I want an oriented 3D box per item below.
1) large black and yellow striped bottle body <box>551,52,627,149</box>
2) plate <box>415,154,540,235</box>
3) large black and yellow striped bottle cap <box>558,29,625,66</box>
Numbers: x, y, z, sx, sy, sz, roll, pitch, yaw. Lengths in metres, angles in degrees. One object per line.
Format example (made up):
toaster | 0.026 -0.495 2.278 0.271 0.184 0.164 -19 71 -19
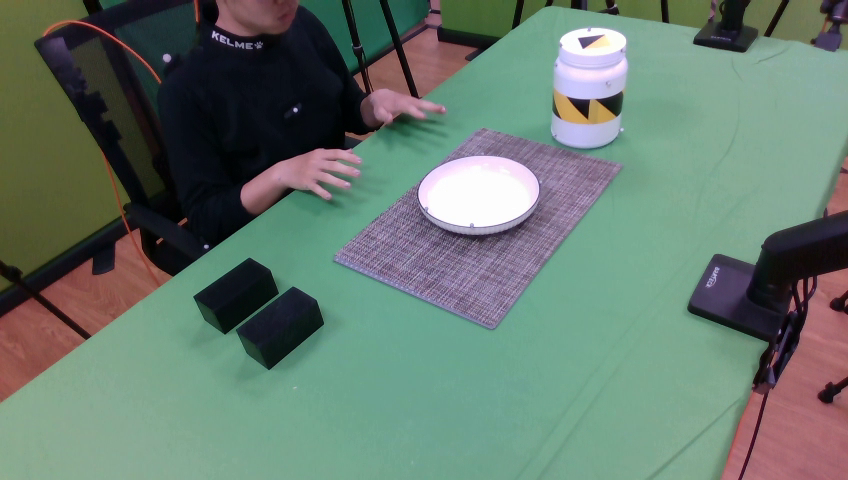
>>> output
large black and yellow striped bottle body | 0.305 -0.278 1.125 0.131 0.185 0.130 -4 41 4
plate | 0.090 -0.074 1.025 0.207 0.039 0.206 -4 41 4
large black and yellow striped bottle cap | 0.297 -0.342 1.071 0.115 0.019 0.114 -3 42 4
